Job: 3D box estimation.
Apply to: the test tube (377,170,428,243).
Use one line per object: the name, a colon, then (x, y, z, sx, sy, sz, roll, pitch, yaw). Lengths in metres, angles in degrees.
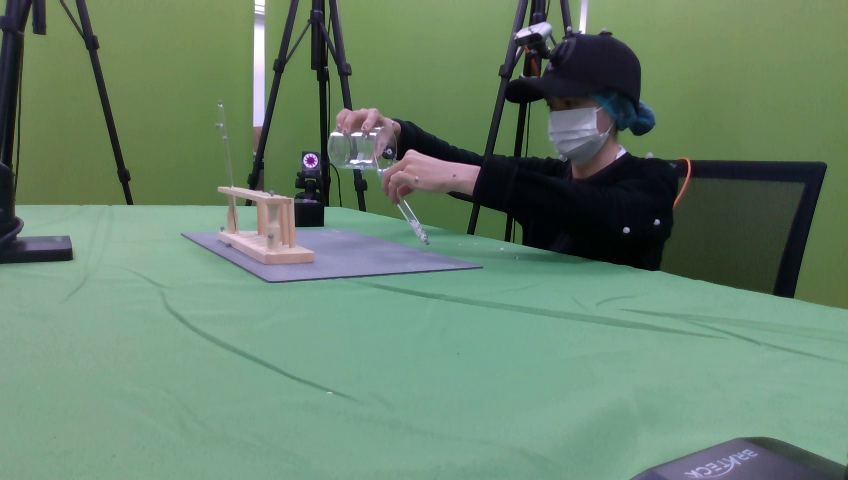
test tube: (-0.036, -0.055, 0.973, 0.017, 0.017, 0.149, -5, 54, -47)

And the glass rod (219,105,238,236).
glass rod: (-0.294, -0.100, 0.908, 0.008, 0.199, 0.008, -3, 12, 1)

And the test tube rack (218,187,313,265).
test tube rack: (-0.235, -0.027, 0.872, 0.067, 0.085, 0.241, -1, 8, -32)

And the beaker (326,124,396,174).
beaker: (-0.108, -0.153, 1.026, 0.100, 0.084, 0.074, 5, -6, 27)
